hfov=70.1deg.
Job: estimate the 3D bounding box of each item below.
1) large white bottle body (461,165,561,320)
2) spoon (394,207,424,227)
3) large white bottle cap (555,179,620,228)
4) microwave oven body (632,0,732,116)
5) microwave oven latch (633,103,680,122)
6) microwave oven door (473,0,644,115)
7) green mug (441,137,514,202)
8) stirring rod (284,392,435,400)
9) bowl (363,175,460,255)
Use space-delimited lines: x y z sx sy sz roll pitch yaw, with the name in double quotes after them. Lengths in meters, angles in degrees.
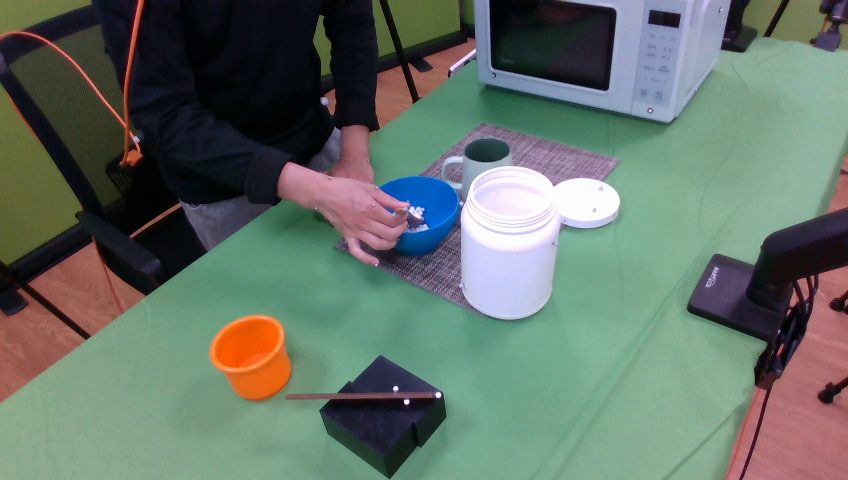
0.115 0.004 0.816 0.130 0.185 0.130 -2 43 2 "large white bottle body"
-0.028 -0.037 0.893 0.041 0.194 0.021 5 85 6 "spoon"
0.265 -0.062 1.001 0.115 0.018 0.114 -3 41 3 "large white bottle cap"
0.377 -0.462 1.267 0.438 0.261 0.327 21 48 30 "microwave oven body"
0.444 -0.249 1.157 0.078 0.029 0.030 21 49 30 "microwave oven latch"
0.257 -0.396 1.199 0.353 0.245 0.039 21 48 29 "microwave oven door"
0.091 -0.108 1.012 0.125 0.105 0.092 2 42 11 "green mug"
-0.075 0.180 0.698 0.176 0.006 0.014 -2 6 7 "stirring rod"
-0.016 -0.029 0.955 0.151 0.077 0.150 -3 39 3 "bowl"
